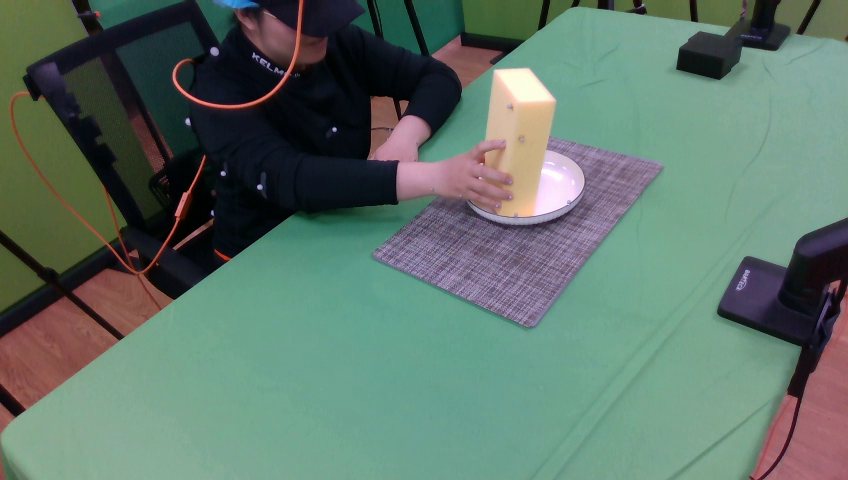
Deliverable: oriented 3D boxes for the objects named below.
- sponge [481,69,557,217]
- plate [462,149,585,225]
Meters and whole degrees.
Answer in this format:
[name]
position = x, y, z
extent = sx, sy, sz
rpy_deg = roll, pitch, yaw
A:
[sponge]
position = 0.147, -0.153, 0.971
extent = 0.061, 0.207, 0.117
rpy_deg = -5, 38, -12
[plate]
position = 0.170, -0.089, 1.041
extent = 0.207, 0.039, 0.206
rpy_deg = -5, 40, 5
